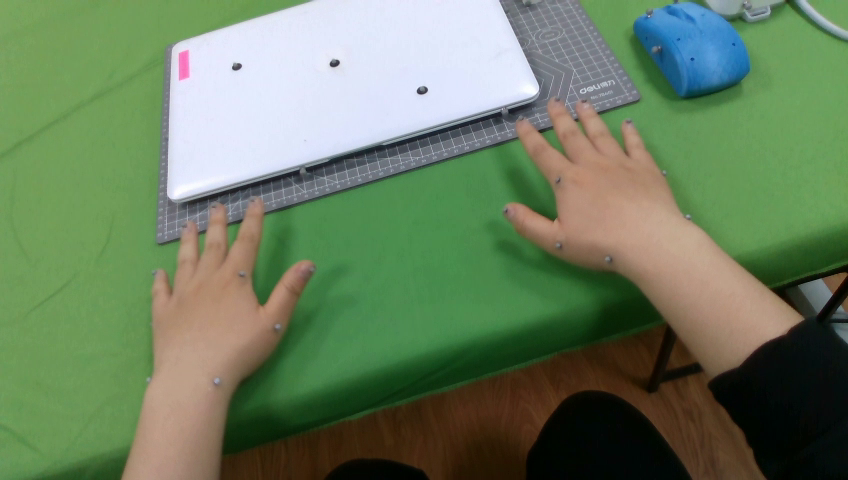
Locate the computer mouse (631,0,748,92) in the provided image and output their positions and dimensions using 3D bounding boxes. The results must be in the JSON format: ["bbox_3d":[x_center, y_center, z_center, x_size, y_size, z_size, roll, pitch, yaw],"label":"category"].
[{"bbox_3d":[0.234,-0.183,0.540,0.063,0.041,0.116,-17,50,4],"label":"computer mouse"}]

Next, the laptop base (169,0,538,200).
[{"bbox_3d":[-0.087,-0.172,0.615,0.354,0.023,0.233,-16,58,1],"label":"laptop base"}]

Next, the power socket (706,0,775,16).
[{"bbox_3d":[0.289,-0.308,0.614,0.072,0.033,0.224,-14,55,4],"label":"power socket"}]

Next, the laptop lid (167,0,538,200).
[{"bbox_3d":[-0.089,-0.176,0.604,0.357,0.013,0.239,-15,57,2],"label":"laptop lid"}]
